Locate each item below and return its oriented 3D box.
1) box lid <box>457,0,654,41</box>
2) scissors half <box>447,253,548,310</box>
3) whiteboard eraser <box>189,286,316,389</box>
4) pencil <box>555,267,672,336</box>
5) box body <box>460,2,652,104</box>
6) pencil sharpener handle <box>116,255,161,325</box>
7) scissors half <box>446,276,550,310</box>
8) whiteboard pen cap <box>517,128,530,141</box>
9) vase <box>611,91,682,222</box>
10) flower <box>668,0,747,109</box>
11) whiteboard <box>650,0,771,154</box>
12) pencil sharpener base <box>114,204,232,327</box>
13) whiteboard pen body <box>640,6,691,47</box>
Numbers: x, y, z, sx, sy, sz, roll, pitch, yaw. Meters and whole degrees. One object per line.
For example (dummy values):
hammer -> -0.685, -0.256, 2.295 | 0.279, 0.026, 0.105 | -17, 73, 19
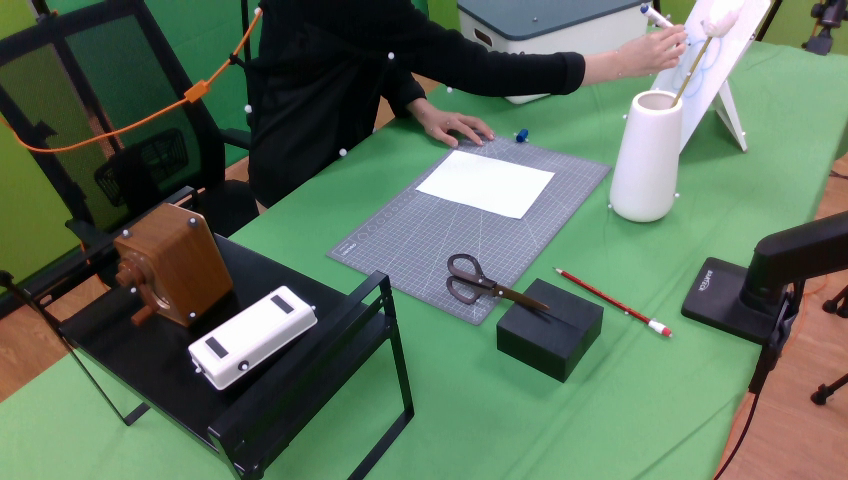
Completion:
box lid -> 0.285, -0.522, 1.323 | 0.373, 0.015, 0.261 | -21, 43, -16
scissors half -> 0.098, 0.058, 0.821 | 0.173, 0.040, 0.013 | 27, 33, 36
whiteboard eraser -> -0.166, 0.096, 0.593 | 0.113, 0.042, 0.055 | -36, 46, -29
pencil -> 0.261, 0.082, 0.851 | 0.012, 0.012, 0.192 | -33, 45, -27
box body -> 0.291, -0.465, 1.371 | 0.365, 0.161, 0.252 | -22, 42, -16
pencil sharpener handle -> -0.286, 0.050, 0.594 | 0.035, 0.068, 0.031 | 7, 41, 35
scissors half -> 0.098, 0.077, 0.827 | 0.174, 0.040, 0.013 | 6, 14, 44
whiteboard pen cap -> 0.195, -0.207, 1.192 | 0.018, 0.018, 0.033 | 14, 41, 23
vase -> 0.348, -0.125, 0.935 | 0.098, 0.201, 0.097 | -3, 40, 3
flower -> 0.355, -0.187, 0.879 | 0.038, 0.362, 0.044 | 30, 48, 14
whiteboard -> 0.543, -0.298, 1.076 | 0.144, 0.305, 0.216 | 12, 40, -7
pencil sharpener base -> -0.261, 0.029, 0.635 | 0.061, 0.107, 0.077 | 18, 47, 27
whiteboard pen body -> 0.424, -0.370, 1.055 | 0.142, 0.017, 0.017 | 19, 29, -32
